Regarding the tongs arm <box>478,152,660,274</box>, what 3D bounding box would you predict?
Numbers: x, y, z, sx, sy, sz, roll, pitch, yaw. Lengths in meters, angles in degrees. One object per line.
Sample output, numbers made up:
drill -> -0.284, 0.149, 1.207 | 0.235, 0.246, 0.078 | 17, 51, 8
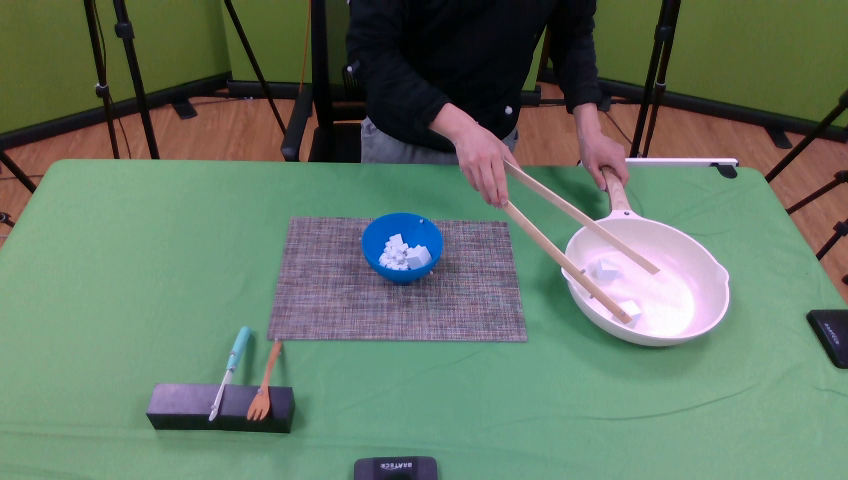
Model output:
tongs arm -> 0.264, -0.049, 1.102 | 0.387, 0.028, 0.028 | 34, 63, -1

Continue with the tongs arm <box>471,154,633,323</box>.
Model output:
tongs arm -> 0.223, -0.005, 1.064 | 0.384, 0.026, 0.050 | 43, 60, 4

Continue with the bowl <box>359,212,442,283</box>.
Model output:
bowl -> -0.044, 0.026, 1.125 | 0.151, 0.077, 0.150 | 2, 46, -2

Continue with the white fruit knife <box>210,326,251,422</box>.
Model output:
white fruit knife -> -0.300, 0.201, 0.942 | 0.016, 0.027, 0.206 | -3, 32, 1

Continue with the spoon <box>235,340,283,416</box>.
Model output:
spoon -> -0.245, 0.207, 0.932 | 0.042, 0.021, 0.193 | 30, 24, -9

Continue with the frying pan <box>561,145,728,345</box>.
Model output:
frying pan -> 0.397, -0.008, 1.179 | 0.307, 0.103, 0.485 | 2, 54, -4
